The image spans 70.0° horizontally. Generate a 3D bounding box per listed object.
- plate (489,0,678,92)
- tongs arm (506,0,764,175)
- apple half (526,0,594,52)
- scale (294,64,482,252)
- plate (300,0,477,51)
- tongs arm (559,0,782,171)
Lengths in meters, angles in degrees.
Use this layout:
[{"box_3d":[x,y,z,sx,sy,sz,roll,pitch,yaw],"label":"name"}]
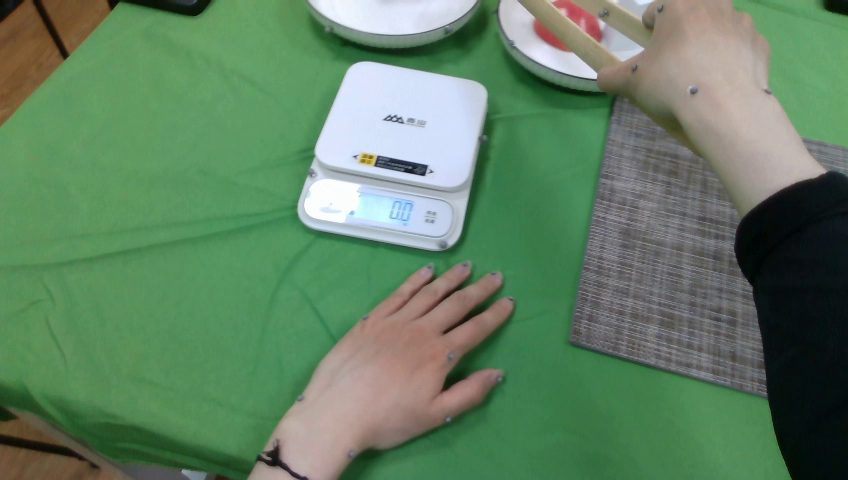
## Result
[{"box_3d":[0.177,-0.235,0.685,0.209,0.038,0.207,1,55,-2],"label":"plate"},{"box_3d":[0.140,-0.172,0.530,0.028,0.028,0.383,-20,48,-13],"label":"tongs arm"},{"box_3d":[0.159,-0.249,0.687,0.081,0.033,0.080,0,53,0],"label":"apple half"},{"box_3d":[-0.029,-0.085,0.577,0.148,0.032,0.199,10,56,4],"label":"scale"},{"box_3d":[-0.041,-0.287,0.710,0.208,0.039,0.205,1,56,-2],"label":"plate"},{"box_3d":[0.161,-0.181,0.534,0.051,0.027,0.380,-25,49,-13],"label":"tongs arm"}]
